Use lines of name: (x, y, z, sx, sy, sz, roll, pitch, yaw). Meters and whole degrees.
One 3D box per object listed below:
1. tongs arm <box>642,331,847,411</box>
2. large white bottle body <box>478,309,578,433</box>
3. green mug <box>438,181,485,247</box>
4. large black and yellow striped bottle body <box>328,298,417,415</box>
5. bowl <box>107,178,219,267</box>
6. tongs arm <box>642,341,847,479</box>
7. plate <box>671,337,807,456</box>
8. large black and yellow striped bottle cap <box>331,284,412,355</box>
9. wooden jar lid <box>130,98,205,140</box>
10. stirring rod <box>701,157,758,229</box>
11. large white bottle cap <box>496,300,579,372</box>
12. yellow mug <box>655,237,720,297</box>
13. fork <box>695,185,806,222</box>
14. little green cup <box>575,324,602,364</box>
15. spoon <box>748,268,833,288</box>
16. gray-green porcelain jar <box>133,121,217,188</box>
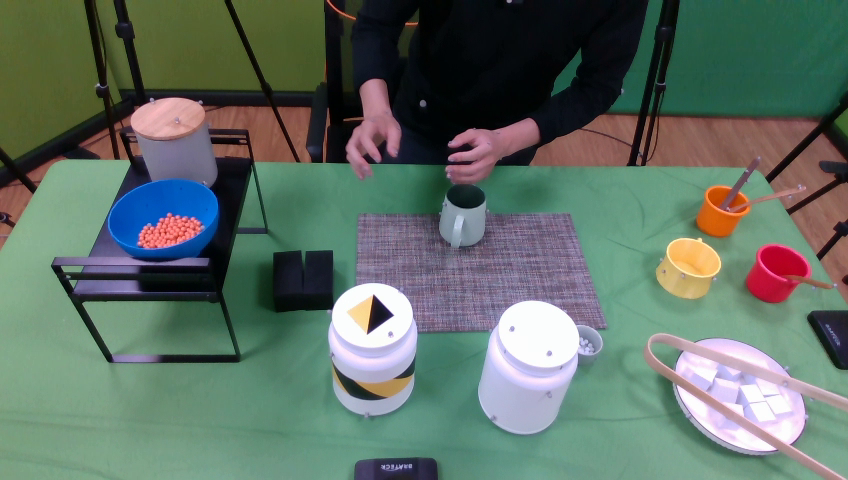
tongs arm: (0.546, 0.227, 0.968, 0.384, 0.026, 0.050, 22, 52, 13)
large white bottle body: (0.156, 0.192, 0.913, 0.131, 0.185, 0.130, 2, 46, -2)
green mug: (0.071, -0.039, 1.177, 0.092, 0.105, 0.124, 12, 47, 7)
large black and yellow striped bottle body: (-0.078, 0.167, 0.920, 0.131, 0.185, 0.130, 2, 46, -2)
bowl: (-0.374, -0.014, 0.893, 0.151, 0.077, 0.150, 2, 46, -2)
tongs arm: (0.504, 0.278, 0.918, 0.386, 0.028, 0.028, 34, 59, 22)
plate: (0.504, 0.254, 0.984, 0.208, 0.039, 0.206, 2, 46, -2)
large black and yellow striped bottle cap: (-0.073, 0.110, 0.857, 0.115, 0.019, 0.114, 2, 46, -2)
wooden jar lid: (-0.393, -0.183, 0.934, 0.108, 0.021, 0.107, 3, 43, -2)
stirring rod: (0.634, -0.096, 1.257, 0.014, 0.006, 0.176, 38, 97, 30)
large white bottle cap: (0.160, 0.133, 0.852, 0.115, 0.018, 0.114, 3, 46, -3)
yellow mug: (0.509, 0.041, 1.167, 0.099, 0.064, 0.130, 24, 48, 18)
fork: (0.658, -0.074, 1.230, 0.207, 0.019, 0.028, -23, 36, 37)
little green cup: (0.269, 0.179, 1.035, 0.061, 0.039, 0.061, 2, 45, -2)
spoon: (0.660, 0.068, 1.097, 0.041, 0.193, 0.021, -3, 91, -6)
gray-green porcelain jar: (-0.397, -0.141, 0.980, 0.106, 0.127, 0.105, 2, 47, -2)
